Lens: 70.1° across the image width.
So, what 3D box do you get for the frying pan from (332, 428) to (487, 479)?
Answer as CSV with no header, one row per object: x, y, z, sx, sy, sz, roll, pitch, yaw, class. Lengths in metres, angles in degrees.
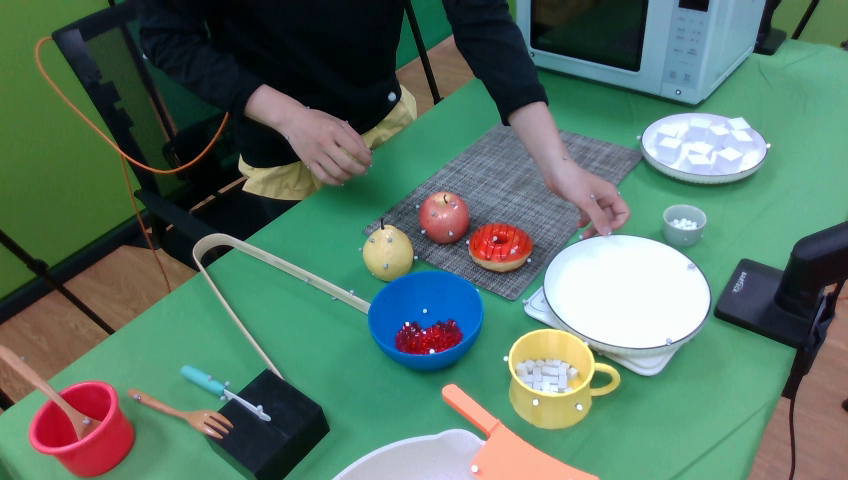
-0.089,0.306,0.564,0.487,0.103,0.306,10,41,7,frying pan

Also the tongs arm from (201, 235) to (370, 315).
-0.209,0.062,0.924,0.381,0.026,0.051,23,53,32,tongs arm

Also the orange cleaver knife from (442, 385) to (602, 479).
0.086,0.219,0.612,0.209,0.012,0.077,28,48,35,orange cleaver knife

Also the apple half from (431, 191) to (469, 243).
0.045,-0.038,0.968,0.053,0.075,0.080,-14,38,-11,apple half

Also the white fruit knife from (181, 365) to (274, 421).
-0.245,0.188,0.747,0.205,0.027,0.016,9,41,41,white fruit knife

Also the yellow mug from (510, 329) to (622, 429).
0.168,0.164,0.721,0.130,0.064,0.099,0,40,8,yellow mug

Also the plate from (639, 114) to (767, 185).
0.489,-0.157,1.074,0.207,0.039,0.206,-4,40,4,plate

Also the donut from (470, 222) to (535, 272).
0.119,0.009,0.923,0.099,0.048,0.098,-3,38,3,donut

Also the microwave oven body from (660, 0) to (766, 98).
0.472,-0.513,1.317,0.438,0.261,0.327,26,51,34,microwave oven body

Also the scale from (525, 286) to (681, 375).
0.254,0.091,0.821,0.199,0.032,0.149,27,51,35,scale

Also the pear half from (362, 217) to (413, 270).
-0.059,0.002,0.913,0.076,0.110,0.055,-14,40,-13,pear half

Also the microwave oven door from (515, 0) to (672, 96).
0.343,-0.455,1.259,0.353,0.245,0.039,26,51,33,microwave oven door

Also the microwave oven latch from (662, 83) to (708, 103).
0.517,-0.296,1.204,0.078,0.029,0.030,27,52,35,microwave oven latch

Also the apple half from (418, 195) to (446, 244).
0.008,-0.027,0.959,0.033,0.081,0.080,-14,41,-12,apple half

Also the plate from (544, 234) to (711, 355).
0.262,0.072,0.792,0.209,0.038,0.208,-4,41,4,plate

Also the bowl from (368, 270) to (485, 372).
0.007,0.118,0.791,0.151,0.077,0.150,-5,40,4,bowl

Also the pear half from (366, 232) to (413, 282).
-0.048,0.031,0.893,0.071,0.088,0.031,-16,40,-13,pear half

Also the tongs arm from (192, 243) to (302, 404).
-0.268,0.109,0.883,0.028,0.028,0.384,-35,46,-18,tongs arm

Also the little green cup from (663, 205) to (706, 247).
0.396,-0.020,0.926,0.061,0.039,0.061,-4,40,4,little green cup

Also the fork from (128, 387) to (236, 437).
-0.305,0.207,0.744,0.206,0.019,0.028,3,40,36,fork

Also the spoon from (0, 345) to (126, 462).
-0.434,0.192,0.720,0.194,0.021,0.042,47,54,-7,spoon
